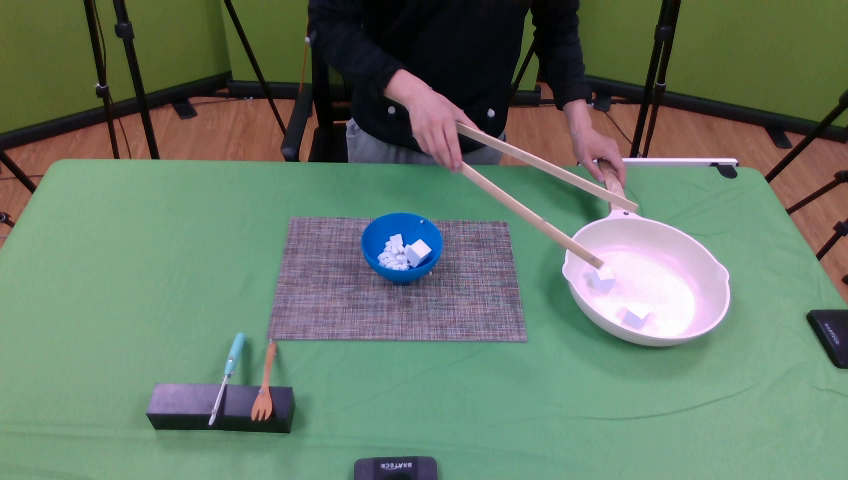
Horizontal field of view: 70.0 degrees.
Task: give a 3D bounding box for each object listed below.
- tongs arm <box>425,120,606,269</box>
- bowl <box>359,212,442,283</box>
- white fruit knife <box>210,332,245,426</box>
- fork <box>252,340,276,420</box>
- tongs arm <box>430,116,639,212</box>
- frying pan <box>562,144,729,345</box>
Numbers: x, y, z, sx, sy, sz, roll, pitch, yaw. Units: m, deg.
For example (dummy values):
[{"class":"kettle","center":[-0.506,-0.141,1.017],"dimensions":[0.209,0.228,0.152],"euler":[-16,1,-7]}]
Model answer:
[{"class":"tongs arm","center":[0.147,-0.082,1.020],"dimensions":[0.384,0.026,0.050],"euler":[36,63,13]},{"class":"bowl","center":[-0.045,0.026,1.125],"dimensions":[0.151,0.077,0.150],"euler":[2,46,-2]},{"class":"white fruit knife","center":[-0.301,0.206,0.930],"dimensions":[0.016,0.027,0.206],"euler":[5,29,-7]},{"class":"fork","center":[-0.242,0.211,0.932],"dimensions":[0.028,0.019,0.206],"euler":[-8,27,-5]},{"class":"tongs arm","center":[0.189,-0.134,1.056],"dimensions":[0.387,0.028,0.028],"euler":[25,65,7]},{"class":"frying pan","center":[0.396,-0.008,1.179],"dimensions":[0.307,0.103,0.484],"euler":[1,55,-4]}]
